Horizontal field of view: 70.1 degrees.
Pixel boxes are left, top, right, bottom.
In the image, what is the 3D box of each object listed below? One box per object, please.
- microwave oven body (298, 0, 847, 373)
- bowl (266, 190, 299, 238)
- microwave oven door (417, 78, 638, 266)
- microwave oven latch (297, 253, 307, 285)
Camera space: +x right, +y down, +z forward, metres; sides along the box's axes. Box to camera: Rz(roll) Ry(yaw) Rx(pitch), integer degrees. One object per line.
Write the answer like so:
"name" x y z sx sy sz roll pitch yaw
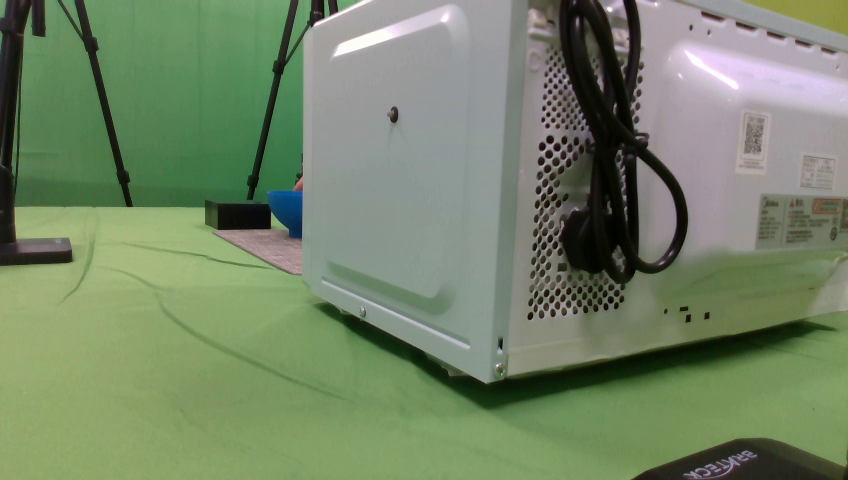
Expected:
"microwave oven body" 0.151 -0.055 0.543 0.444 0.260 0.324 -1 7 -33
"bowl" -0.202 -0.046 1.070 0.151 0.077 0.151 3 7 0
"microwave oven door" 0.131 -0.105 0.892 0.354 0.243 0.039 9 10 42
"microwave oven latch" -0.082 0.027 0.583 0.079 0.029 0.030 -1 7 -33
